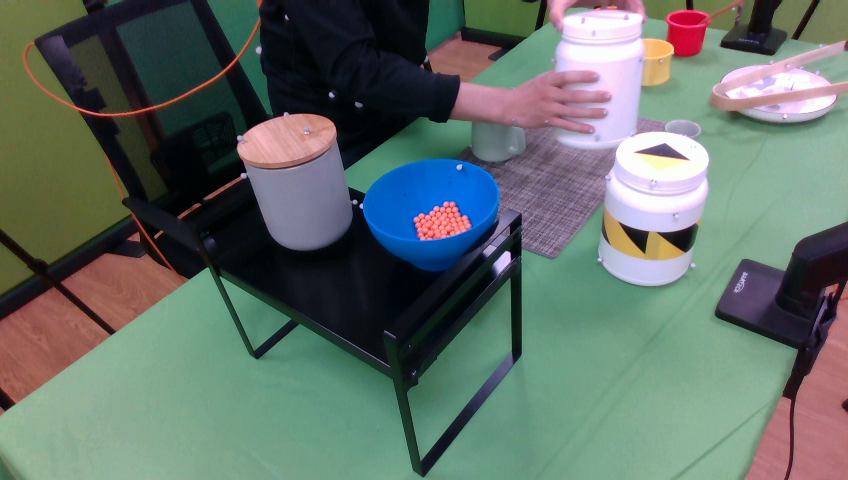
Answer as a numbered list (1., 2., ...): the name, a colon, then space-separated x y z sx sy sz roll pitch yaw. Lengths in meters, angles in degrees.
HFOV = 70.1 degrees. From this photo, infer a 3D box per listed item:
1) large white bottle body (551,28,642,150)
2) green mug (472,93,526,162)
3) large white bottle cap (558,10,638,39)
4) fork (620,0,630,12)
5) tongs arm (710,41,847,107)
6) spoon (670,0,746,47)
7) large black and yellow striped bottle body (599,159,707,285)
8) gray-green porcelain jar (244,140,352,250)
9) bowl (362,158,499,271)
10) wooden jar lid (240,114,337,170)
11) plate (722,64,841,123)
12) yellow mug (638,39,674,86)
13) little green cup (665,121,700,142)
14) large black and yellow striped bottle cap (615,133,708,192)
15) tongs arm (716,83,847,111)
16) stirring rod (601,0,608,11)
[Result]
1. large white bottle body: 0.266 -0.247 0.941 0.130 0.185 0.130 -4 31 3
2. green mug: 0.143 -0.202 1.122 0.093 0.105 0.124 -29 45 -23
3. large white bottle cap: 0.257 -0.319 0.897 0.115 0.018 0.114 -4 32 3
4. fork: 0.481 -0.556 1.452 0.028 0.019 0.207 40 103 37
5. tongs arm: 0.712 -0.332 1.194 0.386 0.026 0.050 -19 45 -16
6. spoon: 0.629 -0.485 1.350 0.022 0.193 0.042 48 54 -7
7. large black and yellow striped bottle body: 0.320 -0.042 0.854 0.131 0.185 0.130 -4 40 4
8. gray-green porcelain jar: -0.144 -0.060 0.714 0.106 0.127 0.105 -4 41 4
9. bowl: 0.011 -0.019 0.679 0.151 0.077 0.150 -5 41 5
10. wooden jar lid: -0.149 -0.106 0.673 0.108 0.021 0.108 -6 38 5
11. plate: 0.695 -0.283 1.189 0.207 0.039 0.206 -4 40 4
12. yellow mug: 0.484 -0.398 1.333 0.100 0.064 0.130 -18 40 -11
13. little green cup: 0.473 -0.189 1.113 0.061 0.039 0.061 -5 40 4
14. large black and yellow striped bottle cap: 0.312 -0.105 0.798 0.115 0.019 0.114 -5 42 5
15. tongs arm: 0.738 -0.281 1.134 0.388 0.028 0.028 -9 47 -5
16. stirring rod: 0.439 -0.552 1.463 0.014 0.006 0.175 -7 83 2
